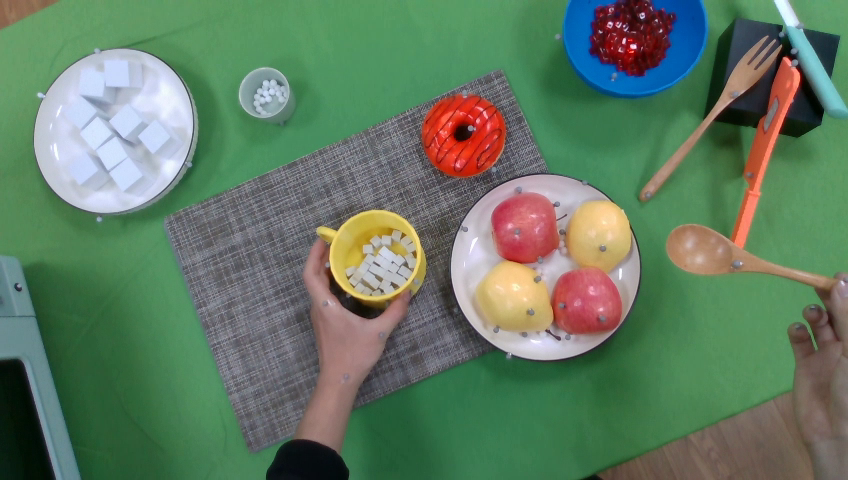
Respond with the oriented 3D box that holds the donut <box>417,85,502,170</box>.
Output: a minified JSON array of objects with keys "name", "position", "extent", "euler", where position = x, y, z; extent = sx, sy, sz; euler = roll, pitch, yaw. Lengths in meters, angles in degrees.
[{"name":"donut","position":[0.040,-0.129,0.696],"extent":[0.099,0.048,0.099],"euler":[-1,86,8]}]

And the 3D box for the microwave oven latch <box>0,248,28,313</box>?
[{"name":"microwave oven latch","position":[-0.501,0.049,0.720],"extent":[0.030,0.029,0.079],"euler":[-19,84,3]}]

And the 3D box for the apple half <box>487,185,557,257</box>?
[{"name":"apple half","position":[0.107,-0.021,0.665],"extent":[0.074,0.053,0.080],"euler":[-6,88,5]}]

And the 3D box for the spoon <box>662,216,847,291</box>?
[{"name":"spoon","position":[0.289,0.022,0.483],"extent":[0.192,0.022,0.041],"euler":[18,81,20]}]

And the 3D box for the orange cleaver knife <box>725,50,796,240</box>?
[{"name":"orange cleaver knife","position":[0.353,-0.093,0.647],"extent":[0.012,0.077,0.212],"euler":[13,112,12]}]

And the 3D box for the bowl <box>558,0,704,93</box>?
[{"name":"bowl","position":[0.221,-0.228,0.674],"extent":[0.151,0.077,0.151],"euler":[0,85,5]}]

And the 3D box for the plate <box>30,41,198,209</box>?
[{"name":"plate","position":[-0.374,-0.138,0.743],"extent":[0.207,0.039,0.207],"euler":[-1,85,6]}]

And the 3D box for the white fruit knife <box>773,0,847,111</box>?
[{"name":"white fruit knife","position":[0.389,-0.228,0.640],"extent":[0.027,0.016,0.206],"euler":[-18,80,-26]}]

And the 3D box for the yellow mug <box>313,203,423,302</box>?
[{"name":"yellow mug","position":[-0.067,0.009,0.677],"extent":[0.130,0.064,0.099],"euler":[24,79,10]}]

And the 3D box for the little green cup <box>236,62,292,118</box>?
[{"name":"little green cup","position":[-0.189,-0.177,0.729],"extent":[0.061,0.039,0.061],"euler":[-1,84,6]}]

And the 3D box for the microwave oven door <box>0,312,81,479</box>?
[{"name":"microwave oven door","position":[-0.437,0.244,0.594],"extent":[0.039,0.244,0.354],"euler":[-21,83,3]}]

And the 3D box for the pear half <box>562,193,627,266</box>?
[{"name":"pear half","position":[0.182,-0.007,0.660],"extent":[0.070,0.031,0.088],"euler":[7,96,29]}]

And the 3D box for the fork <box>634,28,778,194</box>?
[{"name":"fork","position":[0.297,-0.133,0.653],"extent":[0.028,0.018,0.208],"euler":[35,109,0]}]

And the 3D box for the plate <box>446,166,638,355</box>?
[{"name":"plate","position":[0.129,0.022,0.677],"extent":[0.209,0.038,0.208],"euler":[0,85,5]}]

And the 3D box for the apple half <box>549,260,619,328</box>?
[{"name":"apple half","position":[0.166,0.059,0.653],"extent":[0.081,0.033,0.081],"euler":[0,91,28]}]

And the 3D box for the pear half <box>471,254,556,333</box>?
[{"name":"pear half","position":[0.106,0.065,0.662],"extent":[0.110,0.056,0.076],"euler":[39,94,0]}]

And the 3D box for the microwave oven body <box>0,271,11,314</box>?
[{"name":"microwave oven body","position":[-0.587,0.257,0.613],"extent":[0.326,0.261,0.440],"euler":[-21,84,3]}]
